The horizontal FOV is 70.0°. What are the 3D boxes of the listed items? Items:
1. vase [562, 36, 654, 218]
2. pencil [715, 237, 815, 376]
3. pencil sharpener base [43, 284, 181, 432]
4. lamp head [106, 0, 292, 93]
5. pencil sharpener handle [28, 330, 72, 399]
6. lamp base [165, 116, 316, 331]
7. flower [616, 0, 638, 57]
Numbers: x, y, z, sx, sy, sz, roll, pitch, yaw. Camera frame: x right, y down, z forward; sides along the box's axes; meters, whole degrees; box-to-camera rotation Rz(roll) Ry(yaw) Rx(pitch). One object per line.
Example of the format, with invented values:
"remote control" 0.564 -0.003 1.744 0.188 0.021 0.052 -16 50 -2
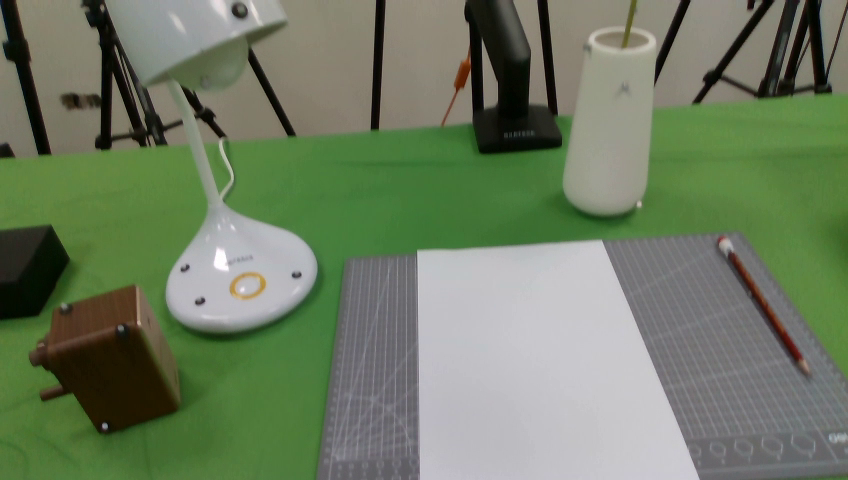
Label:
"vase" 0.212 -0.125 0.696 0.098 0.202 0.097 -4 36 3
"pencil" 0.330 0.058 0.594 0.012 0.012 0.192 -5 38 0
"pencil sharpener base" -0.264 0.103 0.519 0.077 0.108 0.060 -17 39 -15
"lamp head" -0.168 -0.175 0.414 0.112 0.123 0.112 -26 13 7
"pencil sharpener handle" -0.313 0.107 0.499 0.031 0.068 0.035 -17 44 -15
"lamp base" -0.211 -0.026 0.625 0.161 0.182 0.177 -24 39 -24
"flower" 0.201 -0.177 0.630 0.043 0.365 0.038 35 65 23
